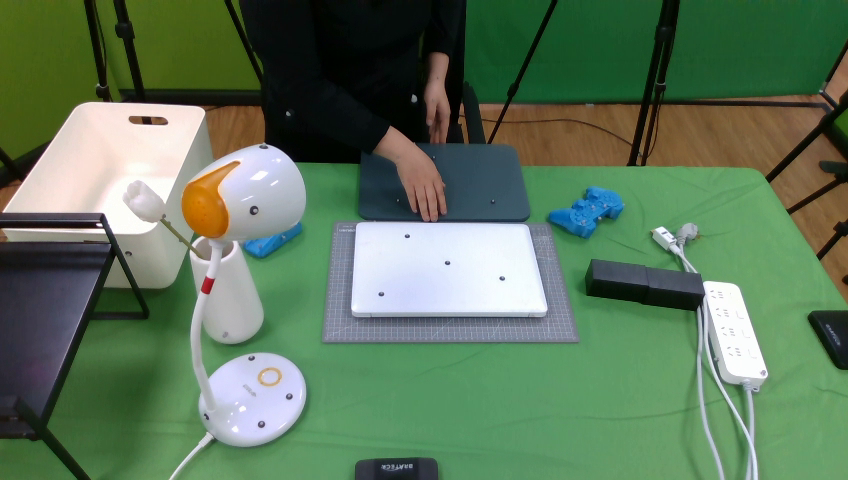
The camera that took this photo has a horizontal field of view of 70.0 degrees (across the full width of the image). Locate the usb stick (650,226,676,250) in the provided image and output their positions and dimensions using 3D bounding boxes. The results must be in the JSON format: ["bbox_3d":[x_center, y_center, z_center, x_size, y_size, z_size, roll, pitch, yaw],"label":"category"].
[{"bbox_3d":[0.485,-0.008,1.237,0.021,0.027,0.059,-23,44,-13],"label":"usb stick"}]

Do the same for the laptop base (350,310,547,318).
[{"bbox_3d":[0.041,0.056,1.149,0.355,0.023,0.234,0,42,-4],"label":"laptop base"}]

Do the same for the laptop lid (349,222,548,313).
[{"bbox_3d":[0.042,0.046,1.142,0.357,0.013,0.240,2,44,-3],"label":"laptop lid"}]

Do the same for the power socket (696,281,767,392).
[{"bbox_3d":[0.543,0.161,1.078,0.072,0.033,0.225,6,46,2],"label":"power socket"}]

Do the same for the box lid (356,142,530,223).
[{"bbox_3d":[0.041,-0.132,1.339,0.372,0.015,0.261,0,46,-4],"label":"box lid"}]

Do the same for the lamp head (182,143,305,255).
[{"bbox_3d":[-0.216,-0.044,0.697,0.112,0.113,0.123,23,31,17],"label":"lamp head"}]

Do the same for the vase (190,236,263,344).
[{"bbox_3d":[-0.317,0.081,0.971,0.098,0.201,0.097,3,47,-3],"label":"vase"}]

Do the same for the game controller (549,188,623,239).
[{"bbox_3d":[0.346,-0.065,1.272,0.155,0.052,0.096,-31,58,-28],"label":"game controller"}]

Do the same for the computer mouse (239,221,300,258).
[{"bbox_3d":[-0.300,-0.016,1.178,0.062,0.041,0.117,35,57,22],"label":"computer mouse"}]

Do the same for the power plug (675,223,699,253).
[{"bbox_3d":[0.537,0.000,1.243,0.053,0.035,0.072,19,82,-17],"label":"power plug"}]

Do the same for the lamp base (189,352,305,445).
[{"bbox_3d":[-0.268,0.196,0.876,0.160,0.181,0.179,25,52,20],"label":"lamp base"}]

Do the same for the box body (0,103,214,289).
[{"bbox_3d":[-0.563,-0.087,1.139,0.254,0.161,0.361,2,46,-3],"label":"box body"}]

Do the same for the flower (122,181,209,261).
[{"bbox_3d":[-0.329,0.029,0.905,0.038,0.364,0.044,-21,58,-1],"label":"flower"}]
